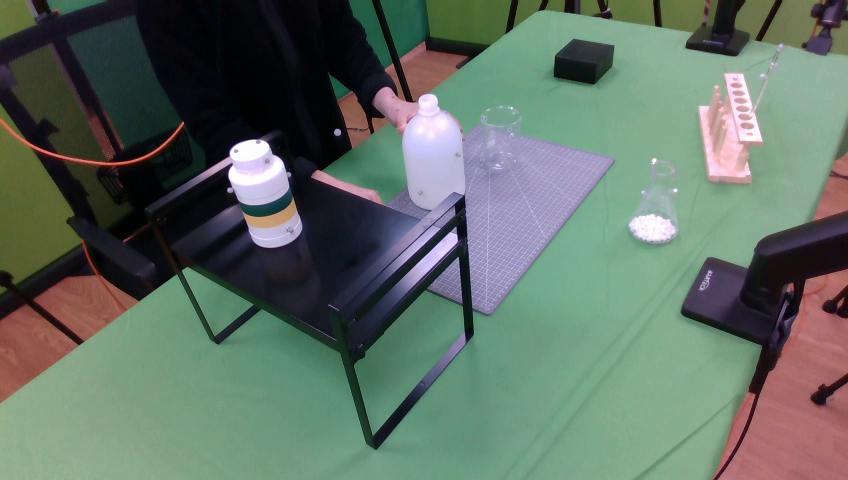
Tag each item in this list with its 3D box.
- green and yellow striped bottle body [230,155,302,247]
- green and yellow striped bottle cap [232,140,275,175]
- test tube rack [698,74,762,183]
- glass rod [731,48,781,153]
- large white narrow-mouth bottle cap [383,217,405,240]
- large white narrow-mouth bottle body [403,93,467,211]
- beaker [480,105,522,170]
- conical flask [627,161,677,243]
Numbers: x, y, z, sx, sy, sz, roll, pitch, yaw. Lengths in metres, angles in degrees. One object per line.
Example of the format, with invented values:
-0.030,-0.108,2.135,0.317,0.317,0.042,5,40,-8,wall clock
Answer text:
-0.188,-0.055,0.714,0.063,0.120,0.063,-4,41,4,green and yellow striped bottle body
-0.192,-0.093,0.680,0.045,0.020,0.045,-5,39,5,green and yellow striped bottle cap
0.547,-0.208,1.095,0.066,0.085,0.242,5,42,15,test tube rack
0.554,-0.228,1.014,0.008,0.200,0.008,1,44,-1,glass rod
-0.051,-0.019,1.004,0.038,0.024,0.037,-4,39,4,large white narrow-mouth bottle cap
0.017,-0.152,1.017,0.102,0.195,0.101,-4,39,4,large white narrow-mouth bottle body
0.145,-0.187,1.112,0.084,0.101,0.073,-35,48,-29,beaker
0.355,-0.061,0.921,0.075,0.122,0.075,-4,41,4,conical flask
